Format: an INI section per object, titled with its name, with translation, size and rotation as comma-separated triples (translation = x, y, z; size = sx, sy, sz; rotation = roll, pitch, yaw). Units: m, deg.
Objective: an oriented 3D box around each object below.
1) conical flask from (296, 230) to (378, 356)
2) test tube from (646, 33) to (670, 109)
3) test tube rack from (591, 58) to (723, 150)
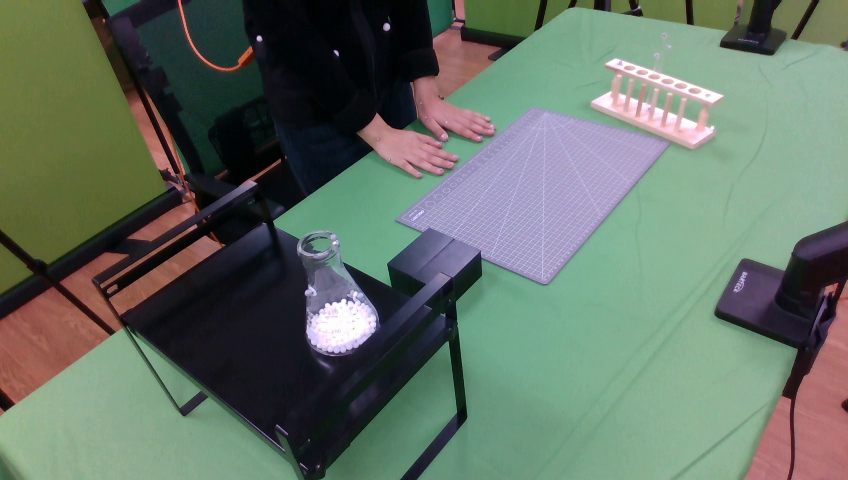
[conical flask]
translation = -0.090, 0.048, 0.578
size = 0.075, 0.122, 0.075
rotation = -5, 41, 5
[test tube]
translation = 0.445, -0.320, 1.154
size = 0.017, 0.151, 0.017
rotation = -1, 41, 2
[test tube rack]
translation = 0.442, -0.269, 1.171
size = 0.067, 0.085, 0.240
rotation = -30, 46, -24
